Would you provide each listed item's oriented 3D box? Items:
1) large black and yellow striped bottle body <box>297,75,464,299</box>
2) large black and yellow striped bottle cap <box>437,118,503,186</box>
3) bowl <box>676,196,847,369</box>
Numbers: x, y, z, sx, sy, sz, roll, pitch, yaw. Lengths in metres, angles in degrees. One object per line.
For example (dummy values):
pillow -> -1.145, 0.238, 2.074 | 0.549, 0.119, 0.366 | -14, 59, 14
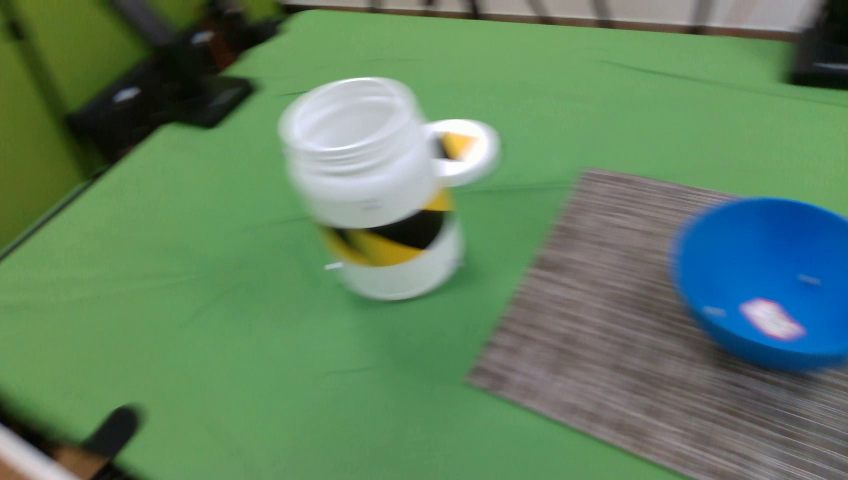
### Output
large black and yellow striped bottle body -> -0.038, -0.048, 0.574 | 0.130, 0.186, 0.129 | -8, 45, 8
large black and yellow striped bottle cap -> 0.039, -0.109, 0.736 | 0.115, 0.019, 0.114 | -7, 45, 7
bowl -> 0.271, 0.045, 0.468 | 0.151, 0.077, 0.150 | -7, 45, 8
